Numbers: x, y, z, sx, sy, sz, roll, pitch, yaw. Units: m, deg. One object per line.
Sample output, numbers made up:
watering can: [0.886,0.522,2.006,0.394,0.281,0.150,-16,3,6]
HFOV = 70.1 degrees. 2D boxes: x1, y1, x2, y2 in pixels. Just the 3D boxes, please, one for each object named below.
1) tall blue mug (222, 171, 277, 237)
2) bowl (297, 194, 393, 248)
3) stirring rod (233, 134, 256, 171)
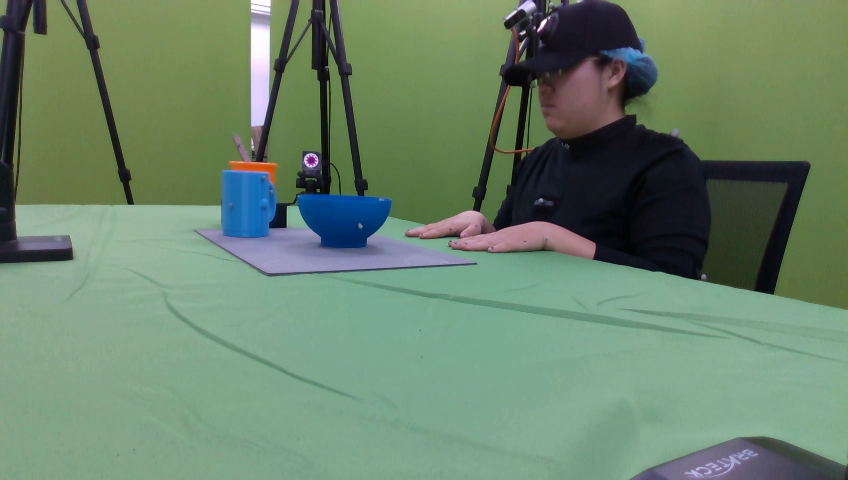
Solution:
tall blue mug: [-0.303,-0.064,1.043,0.078,0.108,0.107,1,7,-4]
bowl: [-0.127,-0.030,0.964,0.151,0.077,0.151,2,7,0]
stirring rod: [-0.346,-0.148,1.198,0.014,0.006,0.175,-5,53,-39]
